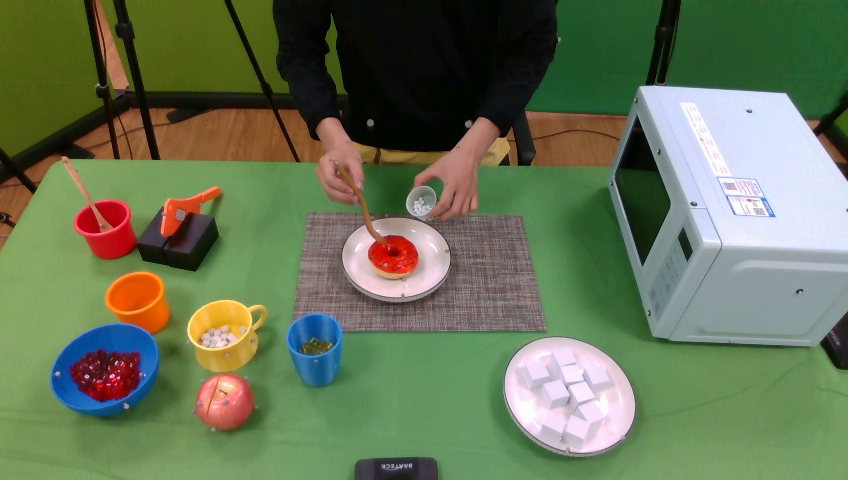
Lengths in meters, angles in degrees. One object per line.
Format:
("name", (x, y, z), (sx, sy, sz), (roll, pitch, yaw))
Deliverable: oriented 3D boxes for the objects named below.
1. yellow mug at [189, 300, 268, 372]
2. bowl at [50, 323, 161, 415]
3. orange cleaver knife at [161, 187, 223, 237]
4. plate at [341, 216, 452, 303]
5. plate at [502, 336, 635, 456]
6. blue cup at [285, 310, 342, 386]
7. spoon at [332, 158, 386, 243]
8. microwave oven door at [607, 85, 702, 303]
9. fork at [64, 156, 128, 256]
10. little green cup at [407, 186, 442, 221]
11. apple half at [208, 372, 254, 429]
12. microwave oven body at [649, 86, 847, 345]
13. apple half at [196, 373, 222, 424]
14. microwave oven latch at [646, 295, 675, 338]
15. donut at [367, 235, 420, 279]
("yellow mug", (-0.315, 0.149, 1.001), (0.131, 0.064, 0.099), (-33, 55, -31))
("bowl", (-0.472, 0.209, 0.924), (0.151, 0.077, 0.150), (3, 45, -2))
("orange cleaver knife", (-0.448, -0.058, 1.180), (0.012, 0.077, 0.211), (13, 17, 6))
("plate", (-0.052, 0.039, 1.140), (0.209, 0.038, 0.208), (2, 46, -2))
("plate", (0.225, 0.248, 0.963), (0.208, 0.039, 0.206), (2, 46, -2))
("blue cup", (-0.170, 0.179, 0.958), (0.093, 0.101, 0.092), (2, 44, -1))
("spoon", (-0.109, -0.064, 1.028), (0.021, 0.195, 0.041), (-28, 39, -5))
("microwave oven door", (0.423, -0.094, 1.141), (0.039, 0.245, 0.353), (2, 46, -1))
("fork", (-0.614, -0.064, 1.129), (0.028, 0.018, 0.207), (-30, 97, -17))
("little green cup", (0.004, -0.066, 1.128), (0.061, 0.039, 0.061), (-7, 69, 20))
("apple half", (-0.283, 0.244, 0.908), (0.053, 0.075, 0.080), (7, 42, -1))
("microwave oven body", (0.568, -0.053, 1.118), (0.326, 0.261, 0.439), (2, 45, -1))
("apple half", (-0.322, 0.239, 0.907), (0.033, 0.081, 0.081), (6, 46, -1))
("microwave oven latch", (0.412, 0.134, 1.061), (0.030, 0.029, 0.078), (3, 45, 1))
("donut", (-0.056, 0.032, 1.132), (0.099, 0.048, 0.098), (3, 45, -3))
